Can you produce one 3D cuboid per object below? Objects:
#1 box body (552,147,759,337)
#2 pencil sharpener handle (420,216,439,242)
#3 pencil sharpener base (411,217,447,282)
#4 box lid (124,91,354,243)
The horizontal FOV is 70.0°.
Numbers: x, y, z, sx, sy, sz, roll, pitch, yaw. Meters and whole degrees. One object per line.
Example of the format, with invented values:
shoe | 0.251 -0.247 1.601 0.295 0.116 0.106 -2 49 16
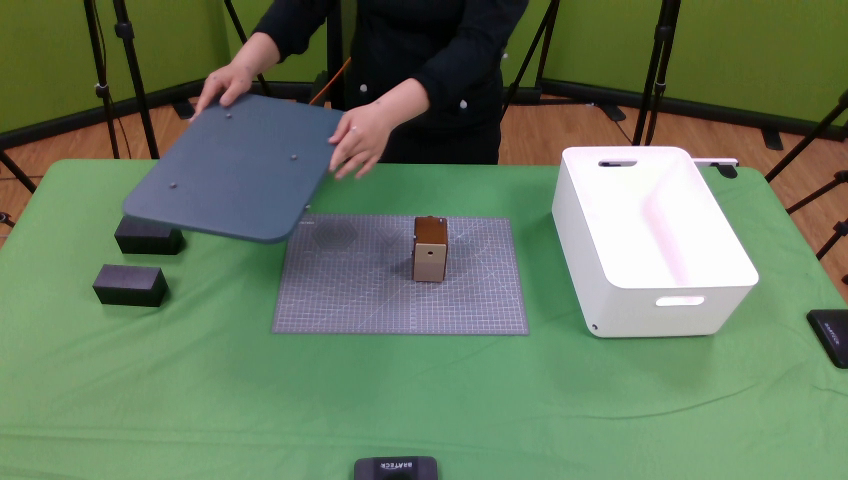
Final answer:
box body | 0.400 -0.001 1.131 0.254 0.161 0.361 -1 46 -5
pencil sharpener handle | 0.008 -0.028 1.145 0.036 0.068 0.030 6 45 -6
pencil sharpener base | 0.009 0.017 1.118 0.061 0.107 0.076 2 45 -2
box lid | -0.287 -0.136 1.001 0.263 0.015 0.369 10 44 6
